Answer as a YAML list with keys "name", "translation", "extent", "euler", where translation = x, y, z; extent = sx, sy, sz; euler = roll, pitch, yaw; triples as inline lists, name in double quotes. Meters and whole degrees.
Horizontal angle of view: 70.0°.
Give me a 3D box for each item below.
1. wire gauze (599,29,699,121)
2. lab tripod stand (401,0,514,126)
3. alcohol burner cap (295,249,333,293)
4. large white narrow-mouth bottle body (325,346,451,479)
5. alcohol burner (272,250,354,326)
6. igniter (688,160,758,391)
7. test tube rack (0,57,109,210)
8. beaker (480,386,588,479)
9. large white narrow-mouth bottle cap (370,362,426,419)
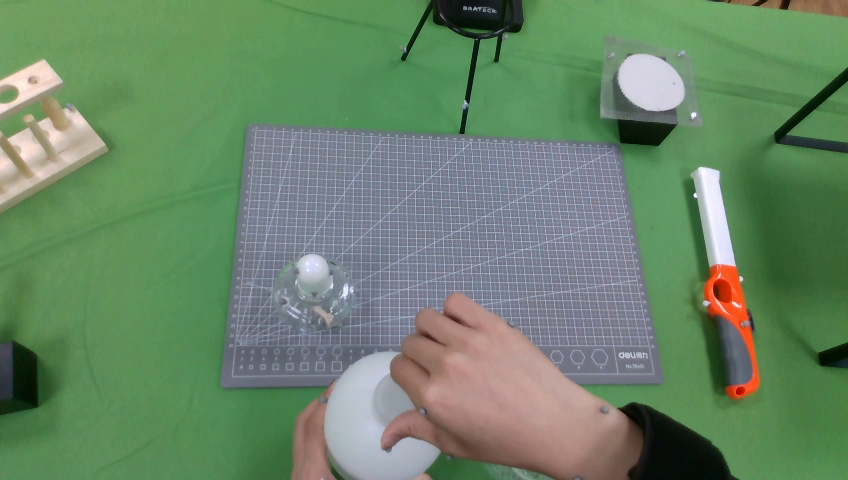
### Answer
- name: "wire gauze"
  translation: [0.272, -0.199, 0.738]
  extent: [0.121, 0.011, 0.124]
  euler: [9, 65, -5]
- name: "lab tripod stand"
  translation: [0.046, -0.229, 0.701]
  extent: [0.149, 0.132, 0.147]
  euler: [4, 67, -9]
- name: "alcohol burner cap"
  translation: [-0.099, 0.026, 0.536]
  extent: [0.034, 0.048, 0.033]
  euler: [2, 71, -4]
- name: "large white narrow-mouth bottle body"
  translation: [-0.031, 0.142, 0.496]
  extent: [0.102, 0.195, 0.101]
  euler: [3, 65, -7]
- name: "alcohol burner"
  translation: [-0.103, 0.039, 0.570]
  extent: [0.078, 0.119, 0.077]
  euler: [4, 65, -9]
- name: "igniter"
  translation: [0.339, 0.033, 0.691]
  extent: [0.057, 0.025, 0.274]
  euler: [8, 66, -16]
- name: "test tube rack"
  translation: [-0.446, -0.070, 0.582]
  extent: [0.242, 0.085, 0.066]
  euler: [-38, 77, -21]
- name: "beaker"
  translation: [0.091, 0.179, 0.551]
  extent: [0.084, 0.101, 0.073]
  euler: [7, 65, -5]
- name: "large white narrow-mouth bottle cap"
  translation: [-0.018, 0.102, 0.412]
  extent: [0.038, 0.024, 0.037]
  euler: [3, 66, -7]
